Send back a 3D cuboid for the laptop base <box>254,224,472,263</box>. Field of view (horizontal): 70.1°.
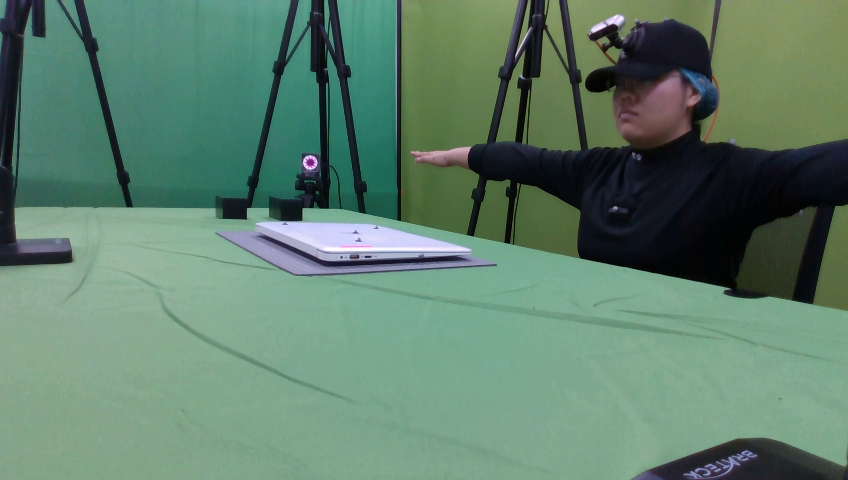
[{"bbox_3d":[-0.115,0.005,0.973,0.237,0.023,0.352,2,6,-31],"label":"laptop base"}]

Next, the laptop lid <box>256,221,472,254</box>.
[{"bbox_3d":[-0.112,-0.007,0.972,0.243,0.013,0.355,1,7,-29],"label":"laptop lid"}]
